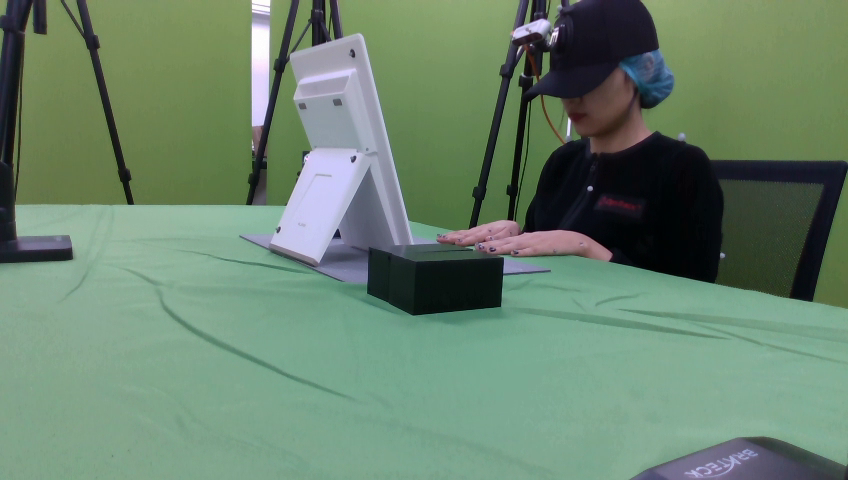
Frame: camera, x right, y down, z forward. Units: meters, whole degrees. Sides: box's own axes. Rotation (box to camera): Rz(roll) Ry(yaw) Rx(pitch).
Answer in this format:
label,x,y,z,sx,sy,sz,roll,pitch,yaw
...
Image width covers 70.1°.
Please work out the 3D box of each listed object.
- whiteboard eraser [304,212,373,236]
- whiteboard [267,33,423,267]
label,x,y,z,sx,sy,sz,roll,pitch,yaw
whiteboard eraser,-0.151,-0.029,1.077,0.113,0.042,0.055,-2,8,-31
whiteboard,-0.153,-0.097,0.819,0.144,0.305,0.216,-25,21,-29
